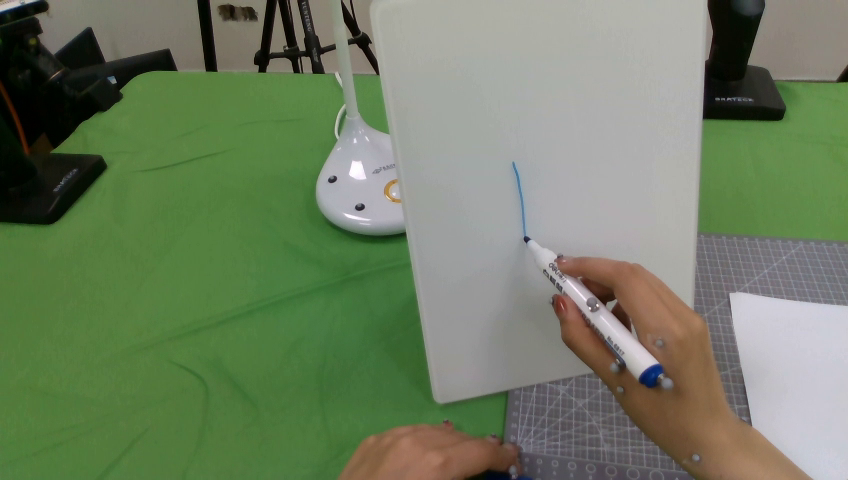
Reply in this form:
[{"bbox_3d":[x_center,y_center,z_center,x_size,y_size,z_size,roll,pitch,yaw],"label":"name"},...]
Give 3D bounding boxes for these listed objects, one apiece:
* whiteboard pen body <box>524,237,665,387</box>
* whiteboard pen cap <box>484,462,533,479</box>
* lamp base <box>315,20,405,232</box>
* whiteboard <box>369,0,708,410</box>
[{"bbox_3d":[0.101,0.038,0.385,0.017,0.017,0.139,-20,43,-15],"label":"whiteboard pen body"},{"bbox_3d":[0.059,0.166,0.416,0.033,0.018,0.018,10,43,35],"label":"whiteboard pen cap"},{"bbox_3d":[-0.056,-0.126,0.637,0.161,0.182,0.177,-30,45,-24],"label":"lamp base"},{"bbox_3d":[0.085,-0.050,0.489,0.217,0.307,0.142,-10,24,-4],"label":"whiteboard"}]
